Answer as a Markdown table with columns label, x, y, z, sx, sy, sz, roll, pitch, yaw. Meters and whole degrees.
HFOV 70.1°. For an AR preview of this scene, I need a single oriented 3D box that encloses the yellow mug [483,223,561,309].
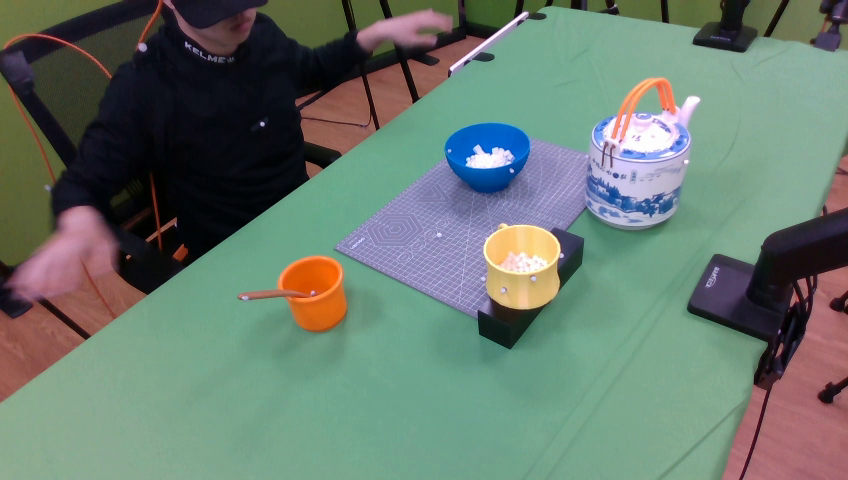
| label | x | y | z | sx | sy | sz | roll | pitch | yaw |
| --- | --- | --- | --- | --- | --- | --- | --- | --- | --- |
| yellow mug | 0.126 | 0.025 | 0.811 | 0.100 | 0.064 | 0.130 | -16 | 39 | -9 |

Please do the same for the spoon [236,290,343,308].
| label | x | y | z | sx | sy | sz | roll | pitch | yaw |
| --- | --- | --- | --- | --- | --- | --- | --- | --- | --- |
| spoon | -0.176 | 0.076 | 0.808 | 0.041 | 0.195 | 0.021 | 23 | 94 | 30 |

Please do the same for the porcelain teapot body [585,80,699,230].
| label | x | y | z | sx | sy | sz | roll | pitch | yaw |
| --- | --- | --- | --- | --- | --- | --- | --- | --- | --- |
| porcelain teapot body | 0.350 | -0.149 | 0.936 | 0.206 | 0.226 | 0.144 | -30 | 45 | -25 |

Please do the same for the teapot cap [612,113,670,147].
| label | x | y | z | sx | sy | sz | roll | pitch | yaw |
| --- | --- | --- | --- | --- | --- | --- | --- | --- | --- |
| teapot cap | 0.323 | -0.166 | 0.900 | 0.085 | 0.044 | 0.085 | -3 | 38 | 3 |

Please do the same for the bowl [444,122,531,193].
| label | x | y | z | sx | sy | sz | roll | pitch | yaw |
| --- | --- | --- | --- | --- | --- | --- | --- | --- | --- |
| bowl | 0.112 | -0.136 | 1.063 | 0.151 | 0.077 | 0.150 | -4 | 41 | 4 |
